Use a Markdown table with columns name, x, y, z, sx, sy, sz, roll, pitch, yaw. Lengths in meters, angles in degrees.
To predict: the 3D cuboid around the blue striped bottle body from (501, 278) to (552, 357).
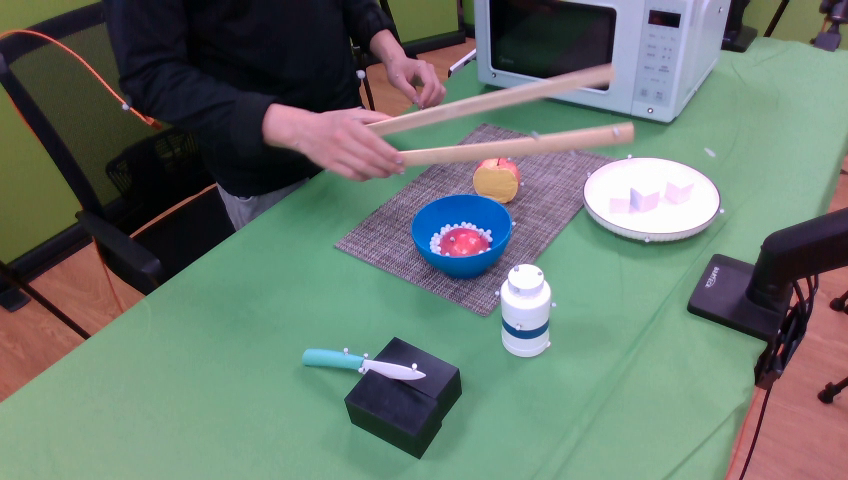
| name | x | y | z | sx | sy | sz | roll | pitch | yaw |
| --- | --- | --- | --- | --- | --- | --- | --- | --- | --- |
| blue striped bottle body | 0.129 | 0.088 | 0.769 | 0.063 | 0.121 | 0.063 | -4 | 41 | 4 |

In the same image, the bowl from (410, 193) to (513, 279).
| name | x | y | z | sx | sy | sz | roll | pitch | yaw |
| --- | --- | --- | --- | --- | --- | --- | --- | --- | --- |
| bowl | 0.058 | 0.005 | 0.905 | 0.151 | 0.077 | 0.150 | -4 | 40 | 3 |

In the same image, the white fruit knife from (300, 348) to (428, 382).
| name | x | y | z | sx | sy | sz | roll | pitch | yaw |
| --- | --- | --- | --- | --- | --- | --- | --- | --- | --- |
| white fruit knife | -0.079 | 0.154 | 0.748 | 0.206 | 0.027 | 0.016 | 1 | 20 | 34 |

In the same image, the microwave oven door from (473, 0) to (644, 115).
| name | x | y | z | sx | sy | sz | roll | pitch | yaw |
| --- | --- | --- | --- | --- | --- | --- | --- | --- | --- |
| microwave oven door | 0.257 | -0.396 | 1.199 | 0.353 | 0.245 | 0.039 | 21 | 48 | 29 |

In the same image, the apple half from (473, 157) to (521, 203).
| name | x | y | z | sx | sy | sz | roll | pitch | yaw |
| --- | --- | --- | --- | --- | --- | --- | --- | --- | --- |
| apple half | 0.128 | -0.107 | 1.030 | 0.080 | 0.075 | 0.053 | 4 | 38 | 19 |

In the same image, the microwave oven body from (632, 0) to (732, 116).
| name | x | y | z | sx | sy | sz | roll | pitch | yaw |
| --- | --- | --- | --- | --- | --- | --- | --- | --- | --- |
| microwave oven body | 0.377 | -0.462 | 1.267 | 0.438 | 0.261 | 0.327 | 21 | 48 | 30 |

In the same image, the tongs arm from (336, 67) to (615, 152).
| name | x | y | z | sx | sy | sz | roll | pitch | yaw |
| --- | --- | --- | --- | --- | --- | --- | --- | --- | --- |
| tongs arm | 0.069 | -0.180 | 0.826 | 0.387 | 0.028 | 0.028 | -12 | 55 | 5 |

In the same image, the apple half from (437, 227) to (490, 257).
| name | x | y | z | sx | sy | sz | roll | pitch | yaw |
| --- | --- | --- | --- | --- | --- | --- | --- | --- | --- |
| apple half | 0.056 | 0.001 | 0.902 | 0.081 | 0.033 | 0.081 | -3 | 41 | 3 |

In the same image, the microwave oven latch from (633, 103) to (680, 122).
| name | x | y | z | sx | sy | sz | roll | pitch | yaw |
| --- | --- | --- | --- | --- | --- | --- | --- | --- | --- |
| microwave oven latch | 0.444 | -0.249 | 1.157 | 0.078 | 0.029 | 0.030 | 21 | 48 | 30 |

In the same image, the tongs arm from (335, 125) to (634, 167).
| name | x | y | z | sx | sy | sz | roll | pitch | yaw |
| --- | --- | --- | --- | --- | --- | --- | --- | --- | --- |
| tongs arm | 0.068 | -0.128 | 0.784 | 0.384 | 0.027 | 0.050 | -6 | 52 | 11 |

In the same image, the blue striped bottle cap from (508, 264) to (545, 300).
| name | x | y | z | sx | sy | sz | roll | pitch | yaw |
| --- | --- | --- | --- | --- | --- | --- | --- | --- | --- |
| blue striped bottle cap | 0.125 | 0.051 | 0.735 | 0.044 | 0.021 | 0.044 | -5 | 40 | 4 |

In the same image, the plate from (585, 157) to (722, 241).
| name | x | y | z | sx | sy | sz | roll | pitch | yaw |
| --- | --- | --- | --- | --- | --- | --- | --- | --- | --- |
| plate | 0.367 | -0.063 | 0.979 | 0.207 | 0.039 | 0.206 | -4 | 40 | 4 |
